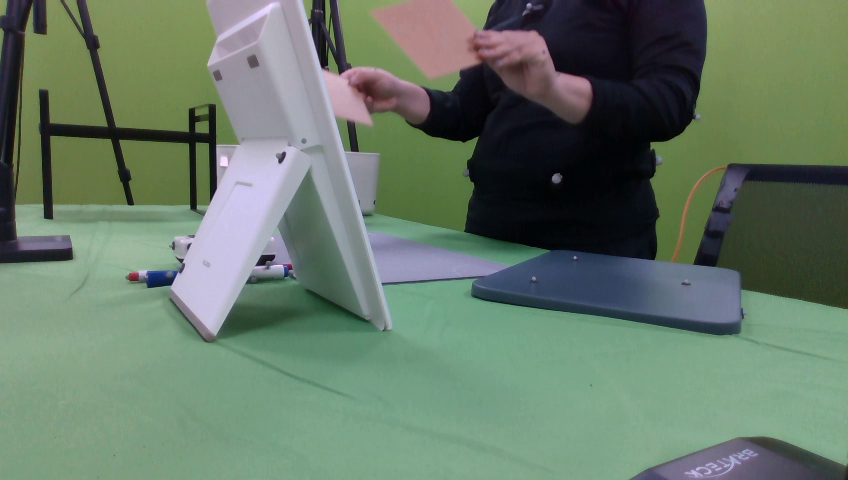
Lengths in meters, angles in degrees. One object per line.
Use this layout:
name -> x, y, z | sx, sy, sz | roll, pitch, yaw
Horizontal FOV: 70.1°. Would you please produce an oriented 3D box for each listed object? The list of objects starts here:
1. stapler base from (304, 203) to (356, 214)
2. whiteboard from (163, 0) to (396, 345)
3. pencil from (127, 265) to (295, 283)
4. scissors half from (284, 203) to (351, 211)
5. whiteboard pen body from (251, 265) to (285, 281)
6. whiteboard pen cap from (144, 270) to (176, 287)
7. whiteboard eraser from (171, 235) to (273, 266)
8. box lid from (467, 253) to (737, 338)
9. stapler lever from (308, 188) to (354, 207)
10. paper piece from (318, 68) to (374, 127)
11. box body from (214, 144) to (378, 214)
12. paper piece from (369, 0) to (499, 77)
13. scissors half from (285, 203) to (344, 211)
stapler base -> -0.235, -0.081, 1.510 | 0.131, 0.024, 0.041 | 2, 9, -35
whiteboard -> -0.173, -0.053, 0.511 | 0.144, 0.305, 0.216 | -23, 19, -26
pencil -> -0.231, 0.037, 0.690 | 0.195, 0.012, 0.012 | -2, 9, -34
scissors half -> -0.269, -0.081, 1.534 | 0.176, 0.013, 0.040 | -6, 9, -24
whiteboard pen body -> -0.220, 0.039, 0.656 | 0.141, 0.017, 0.017 | -2, 9, -31
whiteboard pen cap -> -0.271, 0.039, 0.627 | 0.033, 0.018, 0.018 | -3, 10, -32
whiteboard eraser -> -0.248, 0.014, 0.747 | 0.113, 0.042, 0.055 | -1, 9, -32
box lid -> 0.234, 0.055, 0.736 | 0.262, 0.015, 0.373 | 7, 8, 26
stapler lever -> -0.231, -0.106, 1.509 | 0.119, 0.040, 0.026 | 3, 9, -35
paper piece -> -0.155, -0.236, 0.961 | 0.139, 0.008, 0.135 | 9, 46, -34
box body -> -0.328, -0.154, 1.543 | 0.366, 0.160, 0.253 | -2, 9, -32
paper piece -> 0.016, -0.281, 0.817 | 0.136, 0.135, 0.004 | -27, -18, -32
scissors half -> -0.280, -0.083, 1.552 | 0.040, 0.013, 0.176 | -2, 6, 45
